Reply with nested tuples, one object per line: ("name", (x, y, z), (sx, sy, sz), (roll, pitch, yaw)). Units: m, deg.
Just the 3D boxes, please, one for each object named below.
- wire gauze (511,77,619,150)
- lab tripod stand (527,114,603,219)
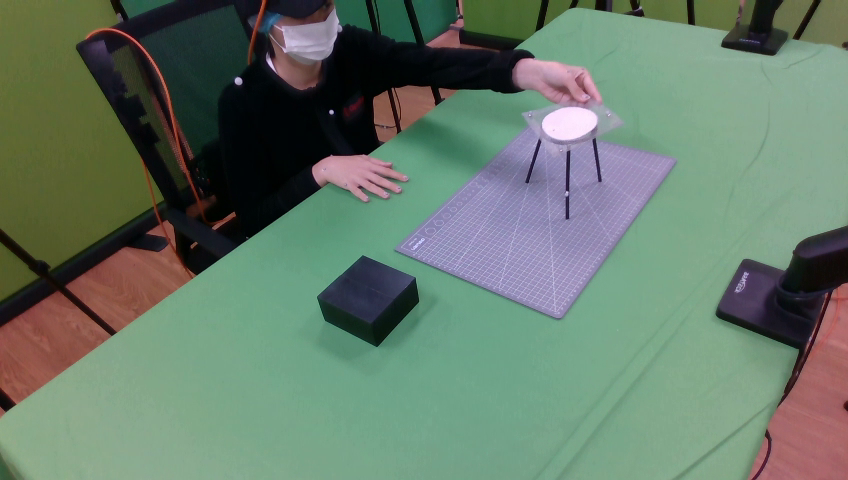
("wire gauze", (0.220, -0.199, 0.950), (0.125, 0.011, 0.120), (-40, 52, -14))
("lab tripod stand", (0.234, -0.129, 1.002), (0.148, 0.132, 0.147), (-6, 40, 6))
